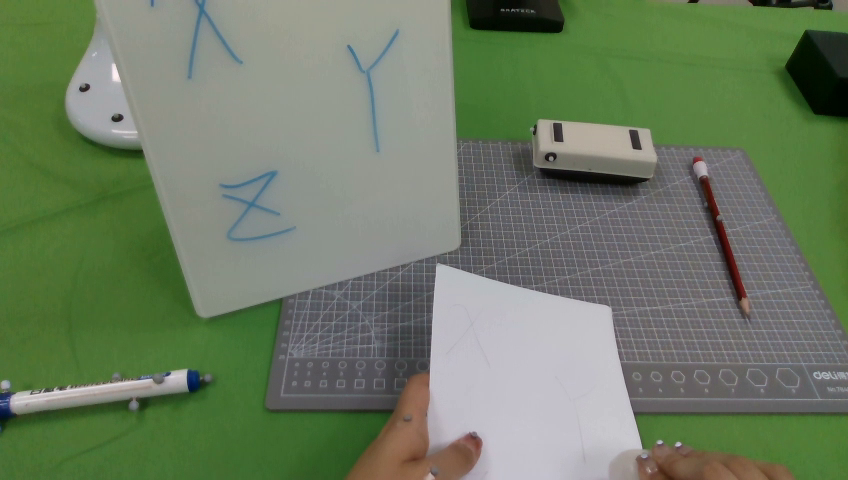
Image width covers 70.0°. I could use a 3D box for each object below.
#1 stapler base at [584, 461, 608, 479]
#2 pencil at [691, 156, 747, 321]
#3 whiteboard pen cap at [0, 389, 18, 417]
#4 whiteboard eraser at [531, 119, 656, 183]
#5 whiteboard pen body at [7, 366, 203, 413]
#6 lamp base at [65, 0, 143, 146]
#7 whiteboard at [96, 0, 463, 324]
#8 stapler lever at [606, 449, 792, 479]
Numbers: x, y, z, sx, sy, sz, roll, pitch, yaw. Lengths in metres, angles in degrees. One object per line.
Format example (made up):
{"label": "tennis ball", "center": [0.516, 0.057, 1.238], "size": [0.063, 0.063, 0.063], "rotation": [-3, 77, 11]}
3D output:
{"label": "stapler base", "center": [0.169, 0.162, 0.385], "size": [0.131, 0.024, 0.041], "rotation": [6, 51, -2]}
{"label": "pencil", "center": [0.267, -0.008, 0.550], "size": [0.012, 0.012, 0.192], "rotation": [5, 50, 0]}
{"label": "whiteboard pen cap", "center": [-0.282, 0.107, 0.392], "size": [0.033, 0.018, 0.018], "rotation": [-7, 49, -10]}
{"label": "whiteboard eraser", "center": [0.161, -0.085, 0.584], "size": [0.113, 0.042, 0.055], "rotation": [6, 49, 0]}
{"label": "whiteboard pen body", "center": [-0.222, 0.101, 0.405], "size": [0.141, 0.017, 0.017], "rotation": [-6, 49, -10]}
{"label": "lamp base", "center": [-0.278, -0.206, 0.559], "size": [0.178, 0.182, 0.160], "rotation": [33, 54, 25]}
{"label": "whiteboard", "center": [-0.102, -0.125, 0.461], "size": [0.218, 0.308, 0.142], "rotation": [-14, 32, -16]}
{"label": "stapler lever", "center": [0.172, 0.149, 0.371], "size": [0.118, 0.040, 0.026], "rotation": [3, 51, 2]}
